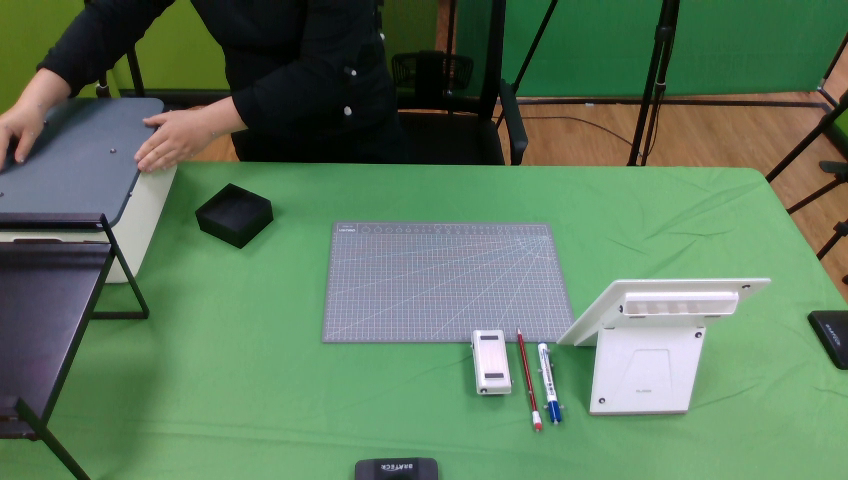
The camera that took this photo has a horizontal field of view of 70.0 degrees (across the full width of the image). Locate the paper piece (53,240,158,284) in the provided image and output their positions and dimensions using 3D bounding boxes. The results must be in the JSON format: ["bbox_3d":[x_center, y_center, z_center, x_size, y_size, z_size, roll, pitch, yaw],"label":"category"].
[{"bbox_3d":[-0.593,0.037,1.135,0.136,0.009,0.137,3,33,7],"label":"paper piece"}]

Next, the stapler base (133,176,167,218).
[{"bbox_3d":[-0.559,-0.094,1.235,0.041,0.024,0.129,7,39,-13],"label":"stapler base"}]

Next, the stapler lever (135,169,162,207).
[{"bbox_3d":[-0.555,-0.112,1.221,0.027,0.040,0.117,6,41,-13],"label":"stapler lever"}]

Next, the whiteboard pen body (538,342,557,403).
[{"bbox_3d":[0.205,0.228,0.997,0.017,0.017,0.140,1,46,-3],"label":"whiteboard pen body"}]

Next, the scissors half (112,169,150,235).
[{"bbox_3d":[-0.596,-0.078,1.225,0.040,0.013,0.174,7,53,1],"label":"scissors half"}]

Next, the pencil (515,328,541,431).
[{"bbox_3d":[0.169,0.224,1.002,0.012,0.012,0.192,-1,46,-6],"label":"pencil"}]

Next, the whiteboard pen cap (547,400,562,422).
[{"bbox_3d":[0.205,0.269,0.956,0.018,0.018,0.033,0,47,-5],"label":"whiteboard pen cap"}]

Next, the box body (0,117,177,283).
[{"bbox_3d":[-0.640,-0.095,1.140,0.254,0.161,0.361,0,46,-4],"label":"box body"}]

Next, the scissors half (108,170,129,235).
[{"bbox_3d":[-0.617,-0.077,1.223,0.040,0.013,0.174,-14,54,-8],"label":"scissors half"}]

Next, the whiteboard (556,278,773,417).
[{"bbox_3d":[0.347,0.174,0.903,0.217,0.306,0.143,1,65,-4],"label":"whiteboard"}]

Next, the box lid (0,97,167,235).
[{"bbox_3d":[-0.635,-0.145,1.086,0.263,0.015,0.369,0,46,-4],"label":"box lid"}]

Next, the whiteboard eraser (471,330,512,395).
[{"bbox_3d":[0.110,0.202,0.998,0.055,0.042,0.112,1,46,-5],"label":"whiteboard eraser"}]
